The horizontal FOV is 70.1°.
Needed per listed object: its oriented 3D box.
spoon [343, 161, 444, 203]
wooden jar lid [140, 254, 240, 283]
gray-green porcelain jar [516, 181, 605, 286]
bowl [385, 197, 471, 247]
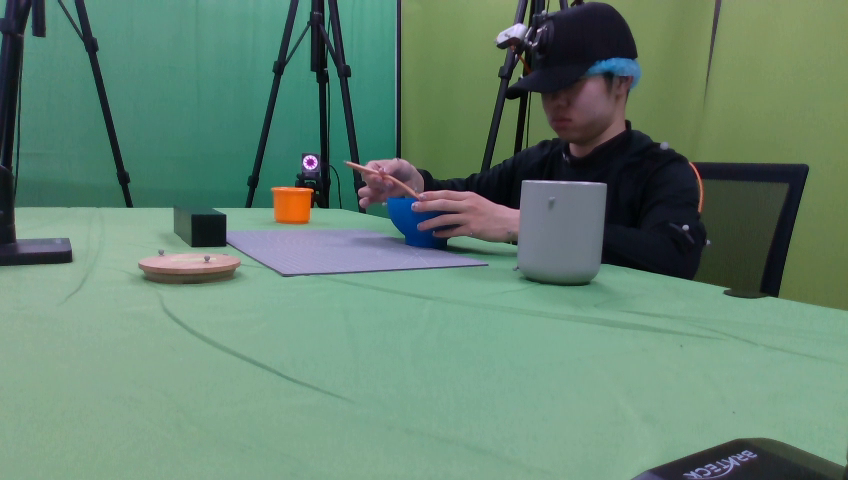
[{"bbox_3d":[-0.055,-0.102,1.057,0.193,0.021,0.042,27,15,10],"label":"spoon"},{"bbox_3d":[-0.269,0.032,0.698,0.108,0.020,0.108,2,5,0],"label":"wooden jar lid"},{"bbox_3d":[0.172,-0.010,0.768,0.106,0.126,0.106,2,7,0],"label":"gray-green porcelain jar"},{"bbox_3d":[0.004,-0.030,1.045,0.151,0.077,0.151,5,6,0],"label":"bowl"}]
